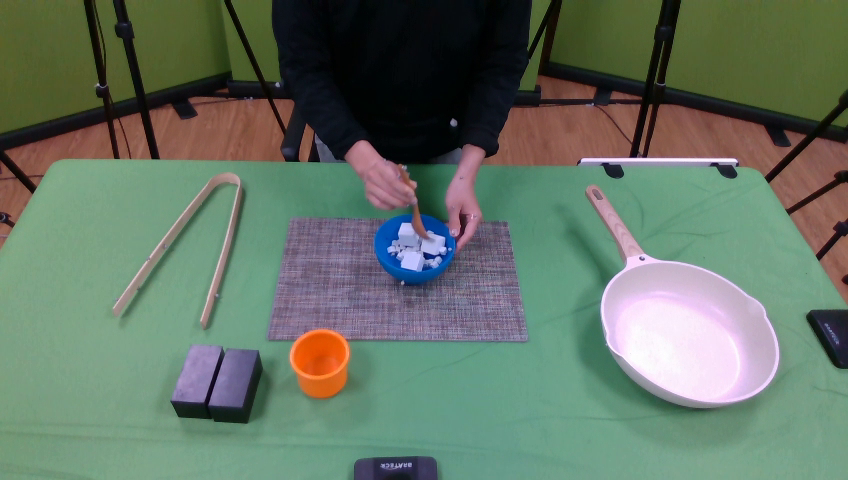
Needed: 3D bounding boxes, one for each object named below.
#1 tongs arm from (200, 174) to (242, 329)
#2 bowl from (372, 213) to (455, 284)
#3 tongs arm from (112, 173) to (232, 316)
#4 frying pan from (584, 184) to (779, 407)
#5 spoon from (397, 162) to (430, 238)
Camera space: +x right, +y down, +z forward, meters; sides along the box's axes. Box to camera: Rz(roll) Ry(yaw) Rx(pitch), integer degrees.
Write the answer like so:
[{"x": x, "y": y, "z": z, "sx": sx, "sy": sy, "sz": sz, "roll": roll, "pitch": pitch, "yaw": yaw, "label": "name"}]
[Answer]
[{"x": -0.387, "y": 0.008, "z": 1.158, "sx": 0.028, "sy": 0.028, "sz": 0.385, "roll": -1, "pitch": 46, "yaw": -3, "label": "tongs arm"}, {"x": -0.021, "y": 0.028, "z": 1.124, "sx": 0.151, "sy": 0.077, "sz": 0.150, "roll": 2, "pitch": 46, "yaw": -2, "label": "bowl"}, {"x": -0.467, "y": -0.005, "z": 1.157, "sx": 0.051, "sy": 0.026, "sz": 0.382, "roll": 11, "pitch": 45, "yaw": 4, "label": "tongs arm"}, {"x": 0.412, "y": 0.079, "z": 1.097, "sx": 0.307, "sy": 0.103, "sz": 0.484, "roll": -10, "pitch": 56, "yaw": -15, "label": "frying pan"}, {"x": -0.019, "y": -0.065, "z": 1.031, "sx": 0.021, "sy": 0.195, "sz": 0.041, "roll": -38, "pitch": 53, "yaw": -19, "label": "spoon"}]
